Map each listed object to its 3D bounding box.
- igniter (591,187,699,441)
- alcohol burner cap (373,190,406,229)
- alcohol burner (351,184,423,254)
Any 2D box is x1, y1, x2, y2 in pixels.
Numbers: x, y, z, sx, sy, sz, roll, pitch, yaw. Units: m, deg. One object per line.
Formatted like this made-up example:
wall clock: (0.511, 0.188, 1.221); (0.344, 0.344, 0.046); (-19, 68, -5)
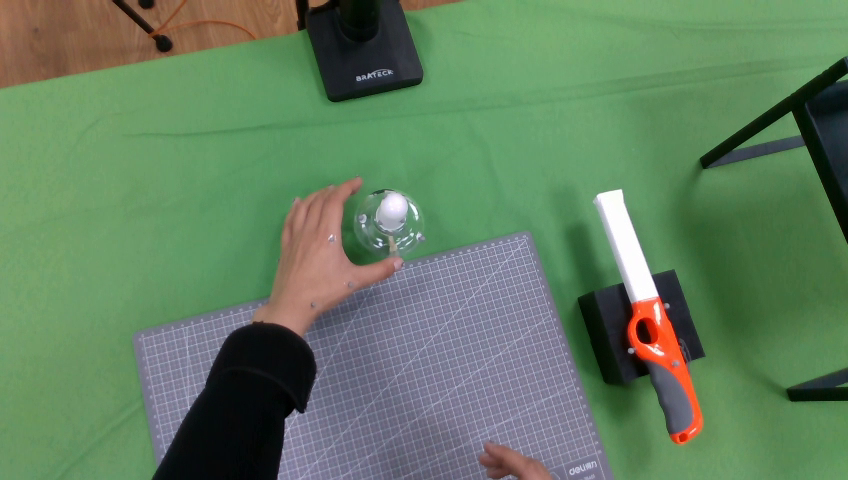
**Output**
igniter: (0.237, 0.074, 0.655); (0.057, 0.025, 0.275); (-11, 75, -10)
alcohol burner cap: (-0.034, -0.033, 0.613); (0.034, 0.048, 0.033); (3, 74, -9)
alcohol burner: (-0.037, -0.027, 0.643); (0.078, 0.119, 0.077); (2, 75, -9)
